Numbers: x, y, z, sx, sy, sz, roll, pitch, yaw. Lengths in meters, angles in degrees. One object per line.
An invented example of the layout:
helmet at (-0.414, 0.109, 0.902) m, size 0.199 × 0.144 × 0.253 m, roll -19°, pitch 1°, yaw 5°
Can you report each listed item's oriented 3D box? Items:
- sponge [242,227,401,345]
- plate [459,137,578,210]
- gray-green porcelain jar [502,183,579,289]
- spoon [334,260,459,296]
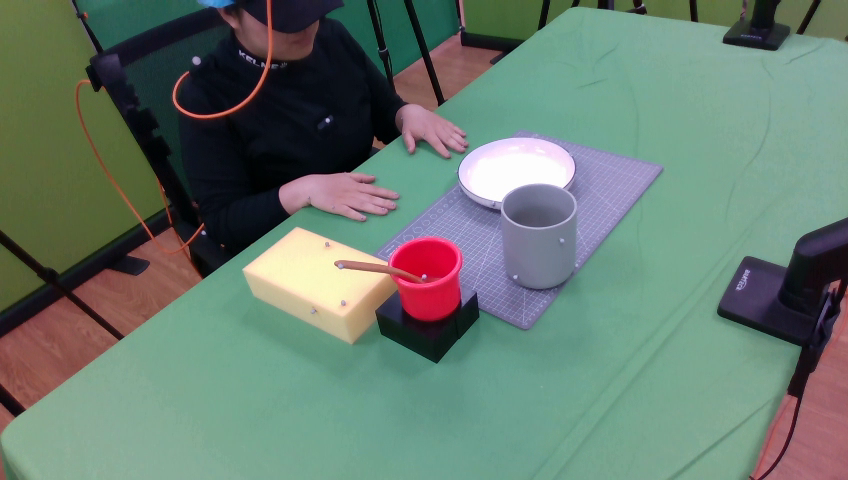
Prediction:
sponge at (-0.154, 0.063, 0.907) m, size 0.205 × 0.061 × 0.118 m, roll 19°, pitch 48°, yaw 29°
plate at (0.166, -0.113, 1.069) m, size 0.207 × 0.039 × 0.206 m, roll -5°, pitch 40°, yaw 5°
gray-green porcelain jar at (0.167, -0.001, 0.866) m, size 0.106 × 0.127 × 0.105 m, roll -5°, pitch 40°, yaw 5°
spoon at (-0.030, 0.045, 0.762) m, size 0.195 × 0.021 × 0.041 m, roll 19°, pitch 20°, yaw -39°
